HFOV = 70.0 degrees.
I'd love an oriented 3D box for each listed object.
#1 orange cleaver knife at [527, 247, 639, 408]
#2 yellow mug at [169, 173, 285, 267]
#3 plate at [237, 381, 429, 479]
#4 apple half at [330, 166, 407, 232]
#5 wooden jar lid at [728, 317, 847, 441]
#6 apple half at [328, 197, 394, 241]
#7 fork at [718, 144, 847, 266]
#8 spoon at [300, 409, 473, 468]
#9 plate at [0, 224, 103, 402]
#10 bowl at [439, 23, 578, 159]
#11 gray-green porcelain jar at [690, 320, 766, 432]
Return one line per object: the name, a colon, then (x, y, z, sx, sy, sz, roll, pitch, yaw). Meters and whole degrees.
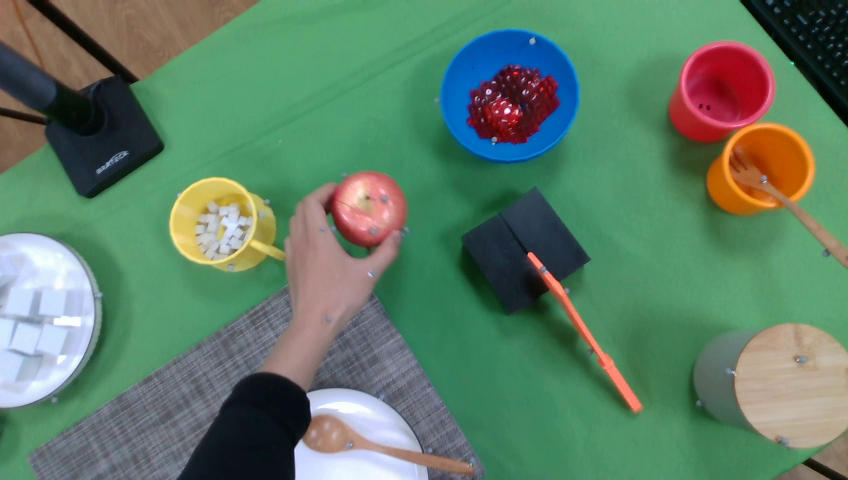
orange cleaver knife: (0.167, 0.093, 0.638, 0.012, 0.076, 0.213, -35, 112, 3)
yellow mug: (-0.219, -0.015, 0.701, 0.130, 0.064, 0.100, 27, 84, 8)
plate: (-0.097, 0.259, 0.660, 0.209, 0.038, 0.208, -1, 82, 5)
apple half: (-0.052, -0.048, 0.641, 0.080, 0.075, 0.053, 23, 81, 14)
wooden jar lid: (0.324, 0.123, 0.539, 0.108, 0.021, 0.108, 0, 84, 4)
apple half: (-0.068, -0.016, 0.636, 0.081, 0.081, 0.033, 22, 86, 8)
fork: (0.359, -0.042, 0.610, 0.028, 0.019, 0.205, -11, 37, -3)
spoon: (-0.043, 0.219, 0.648, 0.193, 0.022, 0.041, 8, 76, 18)
plate: (-0.479, 0.086, 0.724, 0.207, 0.039, 0.207, -1, 82, 5)
bowl: (0.094, -0.157, 0.687, 0.151, 0.077, 0.151, -1, 82, 5)
gray-green porcelain jar: (0.331, 0.133, 0.599, 0.106, 0.127, 0.105, -1, 81, 5)
